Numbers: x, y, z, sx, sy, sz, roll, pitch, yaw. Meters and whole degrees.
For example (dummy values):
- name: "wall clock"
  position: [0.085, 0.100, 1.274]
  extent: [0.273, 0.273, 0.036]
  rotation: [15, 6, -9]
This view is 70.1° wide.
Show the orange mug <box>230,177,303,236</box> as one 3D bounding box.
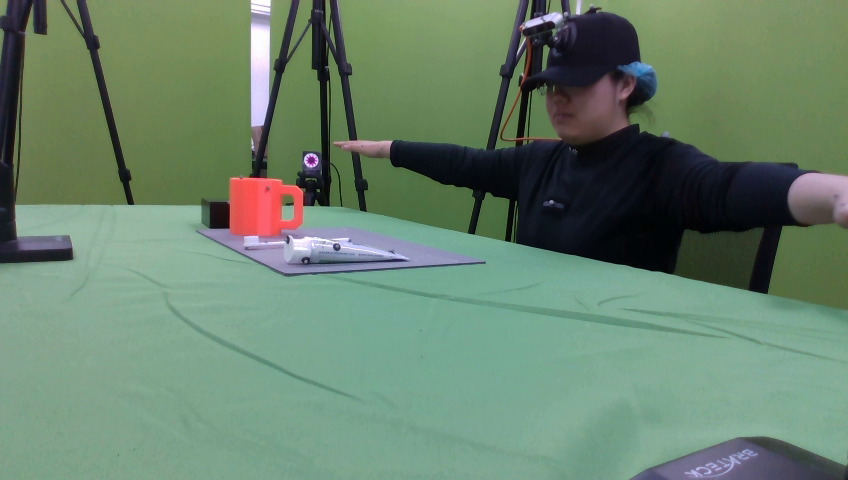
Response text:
- name: "orange mug"
  position: [-0.275, -0.060, 1.058]
  extent: [0.126, 0.101, 0.083]
  rotation: [-2, 8, -5]

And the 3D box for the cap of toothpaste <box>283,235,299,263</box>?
- name: "cap of toothpaste"
  position: [-0.168, 0.012, 0.764]
  extent: [0.011, 0.037, 0.037]
  rotation: [3, 5, -34]

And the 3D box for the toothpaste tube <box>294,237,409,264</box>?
- name: "toothpaste tube"
  position: [-0.101, 0.016, 0.807]
  extent: [0.166, 0.034, 0.055]
  rotation: [3, 12, -34]

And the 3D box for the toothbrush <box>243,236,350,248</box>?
- name: "toothbrush"
  position: [-0.191, 0.001, 0.927]
  extent: [0.183, 0.016, 0.014]
  rotation: [-2, -8, -41]
